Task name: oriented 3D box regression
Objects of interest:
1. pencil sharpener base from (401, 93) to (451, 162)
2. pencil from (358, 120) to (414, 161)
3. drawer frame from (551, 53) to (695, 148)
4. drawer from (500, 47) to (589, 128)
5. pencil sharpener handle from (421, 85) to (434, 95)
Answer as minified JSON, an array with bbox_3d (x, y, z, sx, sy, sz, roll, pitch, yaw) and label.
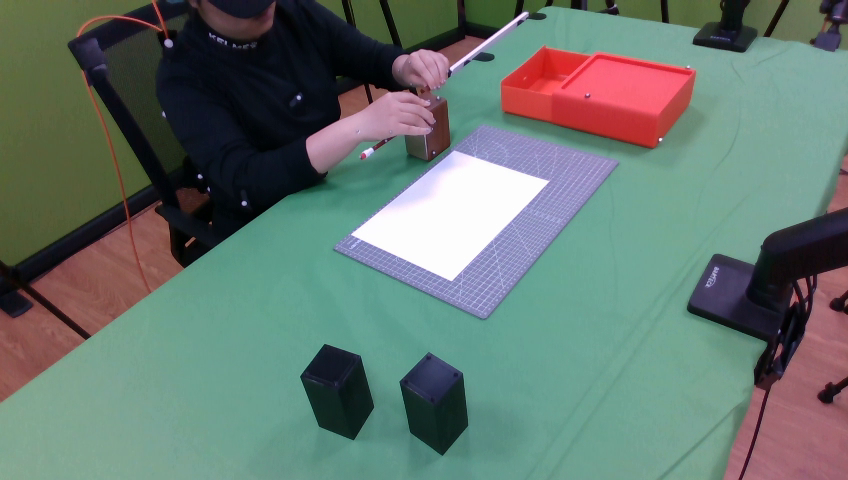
[{"bbox_3d":[0.006,-0.217,1.159,0.061,0.107,0.077,25,49,33],"label":"pencil sharpener base"},{"bbox_3d":[-0.051,-0.194,1.099,0.012,0.012,0.194,23,49,32],"label":"pencil"},{"bbox_3d":[0.391,-0.281,1.196,0.212,0.083,0.202,22,48,29],"label":"drawer frame"},{"bbox_3d":[0.295,-0.316,1.255,0.210,0.073,0.195,22,47,29],"label":"drawer"},{"bbox_3d":[0.025,-0.275,1.173,0.067,0.036,0.031,41,55,14],"label":"pencil sharpener handle"}]
